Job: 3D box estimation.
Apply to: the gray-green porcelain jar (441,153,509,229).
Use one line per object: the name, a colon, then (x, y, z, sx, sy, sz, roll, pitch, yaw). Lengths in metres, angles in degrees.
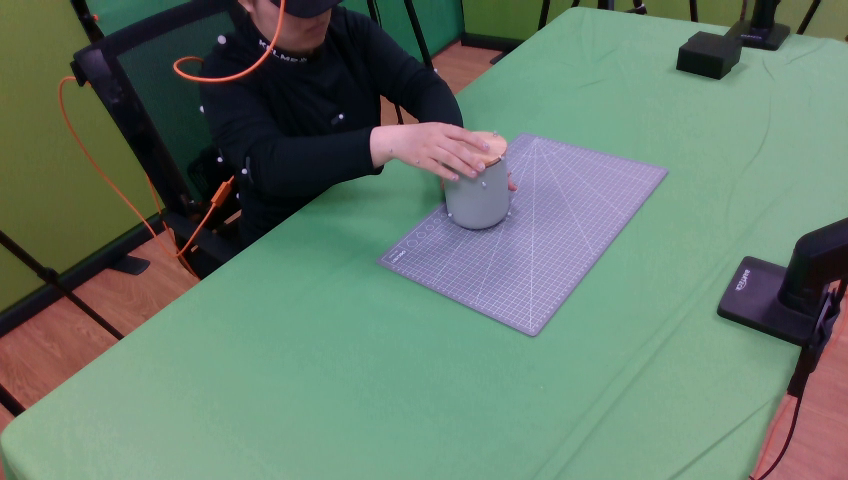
gray-green porcelain jar: (0.086, -0.090, 0.988, 0.106, 0.127, 0.105, -5, 40, 5)

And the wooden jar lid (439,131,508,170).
wooden jar lid: (0.078, -0.137, 0.948, 0.108, 0.021, 0.108, -6, 37, 5)
